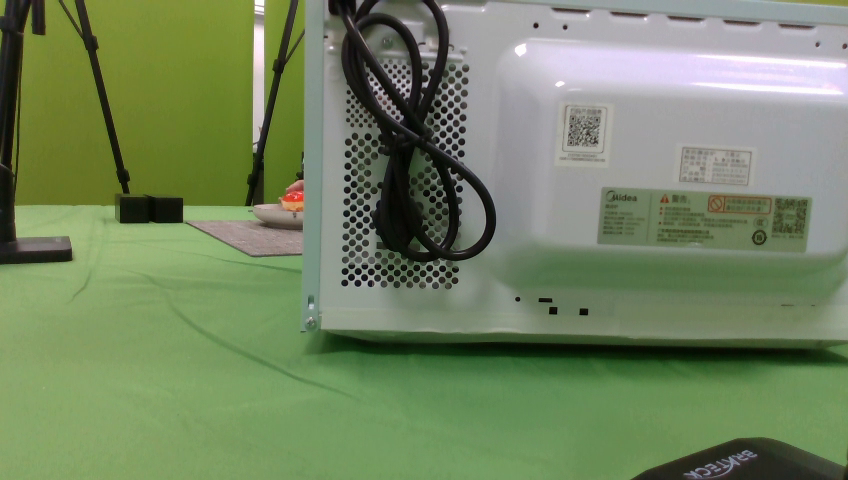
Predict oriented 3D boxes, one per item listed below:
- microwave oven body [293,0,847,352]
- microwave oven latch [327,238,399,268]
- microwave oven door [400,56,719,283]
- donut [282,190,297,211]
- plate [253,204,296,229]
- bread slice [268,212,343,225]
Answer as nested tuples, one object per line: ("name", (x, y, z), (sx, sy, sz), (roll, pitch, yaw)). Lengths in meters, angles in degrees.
("microwave oven body", (0.122, -0.055, 0.550), (0.442, 0.260, 0.325), (3, 7, -5))
("microwave oven latch", (-0.069, 0.015, 0.694), (0.079, 0.029, 0.030), (3, 7, -3))
("microwave oven door", (0.155, -0.078, 0.697), (0.356, 0.243, 0.039), (2, 8, -5))
("donut", (-0.239, -0.077, 1.229), (0.099, 0.048, 0.099), (1, 9, 0))
("plate", (-0.238, -0.047, 1.226), (0.208, 0.039, 0.207), (3, 7, 0))
("bread slice", (-0.244, -0.045, 1.220), (0.104, 0.019, 0.132), (7, 7, 36))
